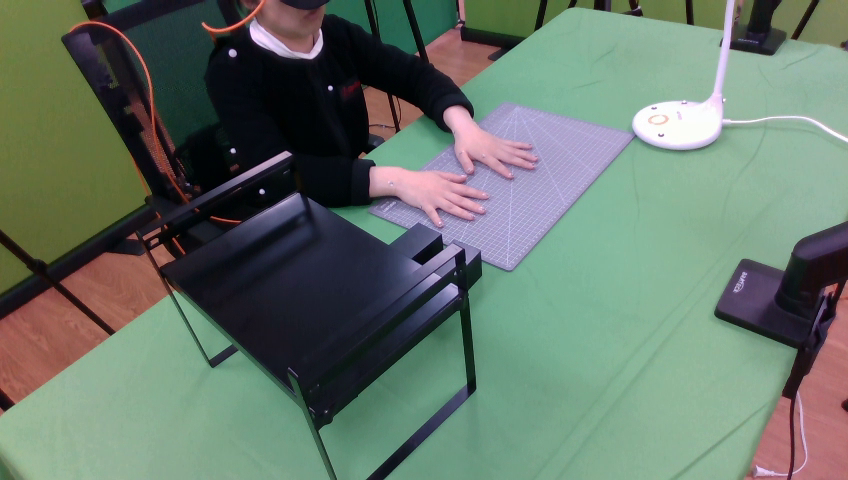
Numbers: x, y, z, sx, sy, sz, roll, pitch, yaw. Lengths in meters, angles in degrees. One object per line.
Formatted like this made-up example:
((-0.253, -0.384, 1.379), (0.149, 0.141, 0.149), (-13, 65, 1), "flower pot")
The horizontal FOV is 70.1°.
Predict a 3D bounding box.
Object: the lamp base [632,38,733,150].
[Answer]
((0.486, -0.280, 1.108), (0.179, 0.181, 0.159), (-5, 41, -1), "lamp base")
